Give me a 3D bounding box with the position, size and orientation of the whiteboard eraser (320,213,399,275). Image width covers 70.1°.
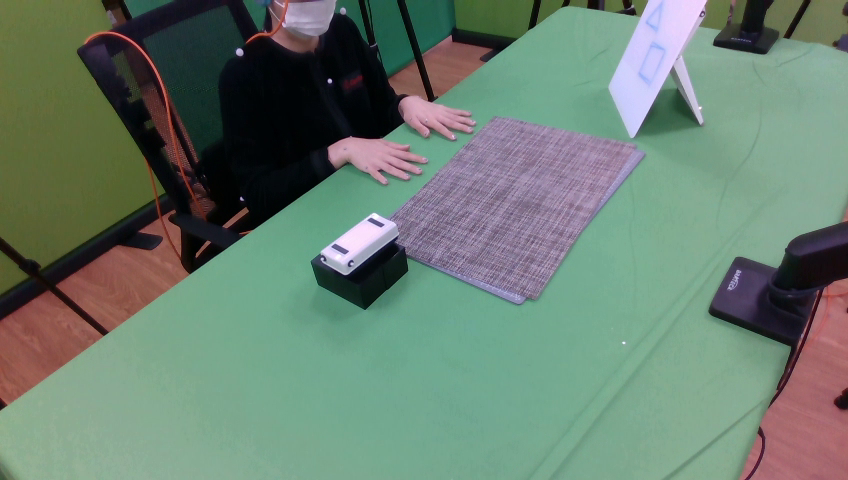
[{"bbox_3d":[-0.092,0.008,0.884,0.055,0.042,0.113,28,51,32],"label":"whiteboard eraser"}]

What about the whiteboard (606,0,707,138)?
[{"bbox_3d":[0.496,-0.359,1.147,0.144,0.305,0.216,11,40,-7],"label":"whiteboard"}]
